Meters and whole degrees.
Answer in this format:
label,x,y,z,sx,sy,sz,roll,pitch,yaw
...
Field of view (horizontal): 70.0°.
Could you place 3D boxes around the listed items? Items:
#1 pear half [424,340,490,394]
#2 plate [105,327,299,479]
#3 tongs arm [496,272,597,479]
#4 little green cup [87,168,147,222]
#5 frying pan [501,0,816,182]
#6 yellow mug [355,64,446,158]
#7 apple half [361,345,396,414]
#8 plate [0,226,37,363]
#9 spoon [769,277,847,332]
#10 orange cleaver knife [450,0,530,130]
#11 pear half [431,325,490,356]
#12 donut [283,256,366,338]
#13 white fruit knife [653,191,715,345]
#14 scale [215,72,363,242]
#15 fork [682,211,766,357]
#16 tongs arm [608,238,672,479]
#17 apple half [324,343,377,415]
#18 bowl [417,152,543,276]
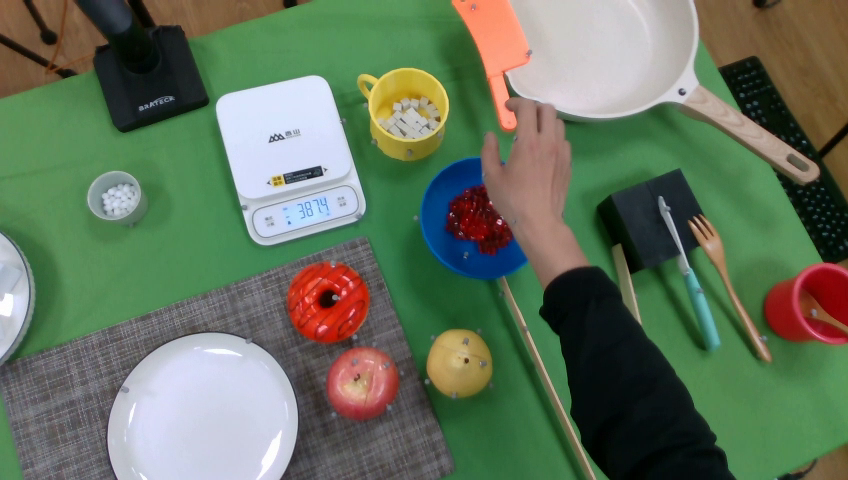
label,x,y,z,sx,sy,sz,roll,pitch,yaw
pear half,0.037,0.146,0.686,0.076,0.110,0.055,11,75,2
plate,-0.244,0.203,0.683,0.209,0.038,0.208,1,77,-4
tongs arm,0.183,0.207,0.724,0.051,0.026,0.383,-20,80,-14
little green cup,-0.369,-0.052,0.734,0.061,0.039,0.061,1,77,-4
frying pan,0.291,-0.227,0.796,0.485,0.103,0.306,40,78,13
yellow mug,-0.036,-0.173,0.775,0.130,0.064,0.100,36,77,5
apple half,-0.048,0.161,0.689,0.033,0.081,0.081,12,76,1
plate,-0.549,0.070,0.691,0.208,0.039,0.206,1,77,-5
spoon,0.495,0.103,0.717,0.041,0.022,0.191,-26,36,-10
orange cleaver knife,0.093,-0.242,0.765,0.077,0.012,0.210,-16,79,-5
pear half,0.044,0.115,0.704,0.070,0.088,0.031,9,77,0
donut,-0.118,0.068,0.721,0.099,0.048,0.098,1,78,-3
white fruit knife,0.321,0.037,0.751,0.016,0.027,0.207,-23,95,-9
scale,-0.171,-0.108,0.767,0.149,0.031,0.200,-16,79,-8
fork,0.380,0.057,0.760,0.028,0.018,0.208,-30,96,-14
tongs arm,0.265,0.186,0.741,0.028,0.028,0.385,-4,78,-14
apple half,-0.086,0.155,0.689,0.053,0.075,0.080,12,79,1
bowl,0.063,-0.024,0.744,0.151,0.077,0.150,1,78,-5
